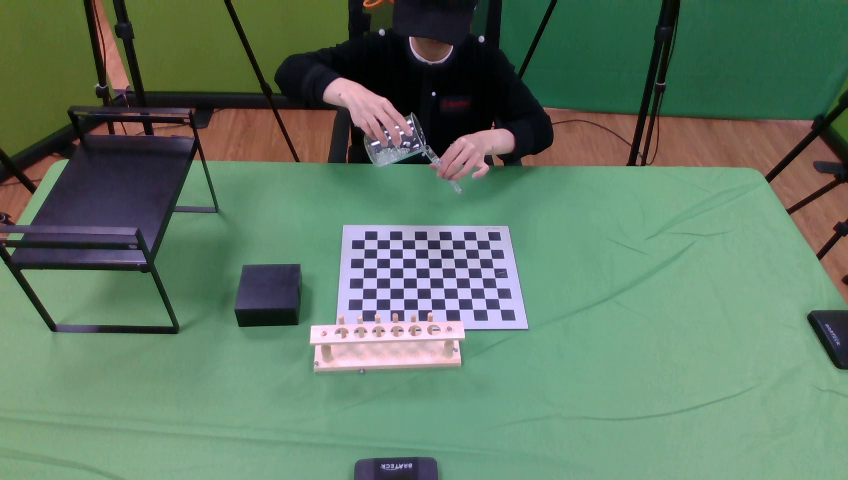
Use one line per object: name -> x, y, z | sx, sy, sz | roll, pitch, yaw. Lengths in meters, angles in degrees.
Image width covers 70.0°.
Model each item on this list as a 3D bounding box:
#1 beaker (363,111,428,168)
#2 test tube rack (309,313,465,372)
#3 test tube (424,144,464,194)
beaker -> -0.051, -0.178, 1.099 | 0.100, 0.084, 0.073 | -20, 48, 12
test tube rack -> -0.059, 0.161, 0.990 | 0.242, 0.085, 0.066 | -1, 46, -5
test tube -> 0.041, -0.135, 1.172 | 0.017, 0.151, 0.017 | -17, 53, 24
